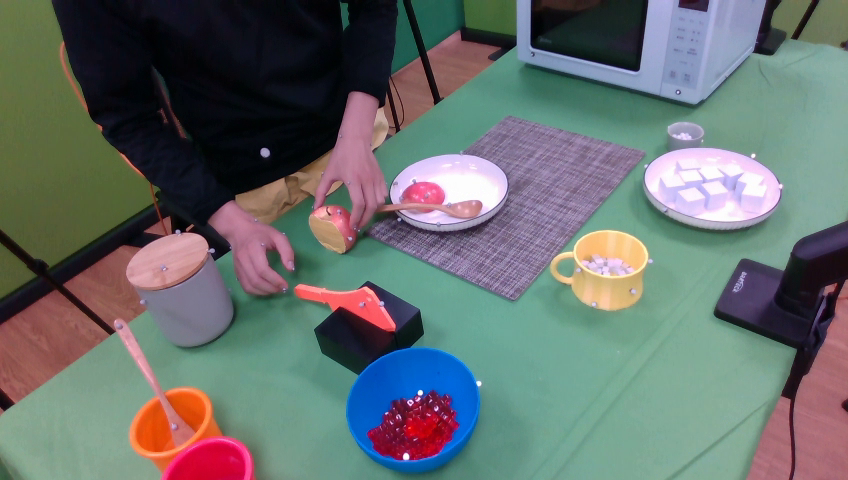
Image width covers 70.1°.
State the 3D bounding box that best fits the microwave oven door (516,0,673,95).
[{"bbox_3d":[0.344,-0.458,1.256,0.353,0.245,0.039,26,51,33],"label":"microwave oven door"}]

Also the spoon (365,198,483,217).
[{"bbox_3d":[0.001,-0.056,0.998,0.194,0.022,0.041,1,52,-9],"label":"spoon"}]

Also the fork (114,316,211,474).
[{"bbox_3d":[-0.308,0.179,0.708,0.028,0.018,0.207,-30,89,-23],"label":"fork"}]

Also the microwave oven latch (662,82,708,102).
[{"bbox_3d":[0.517,-0.298,1.203,0.078,0.029,0.030,28,52,35],"label":"microwave oven latch"}]

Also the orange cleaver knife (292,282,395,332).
[{"bbox_3d":[-0.116,0.091,0.835,0.209,0.077,0.012,2,32,48],"label":"orange cleaver knife"}]

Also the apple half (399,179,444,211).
[{"bbox_3d":[-0.003,-0.088,1.046,0.081,0.033,0.081,-2,42,2],"label":"apple half"}]

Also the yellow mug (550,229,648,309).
[{"bbox_3d":[0.245,0.040,0.857,0.130,0.064,0.099,1,42,11],"label":"yellow mug"}]

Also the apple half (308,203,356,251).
[{"bbox_3d":[-0.141,-0.026,0.979,0.080,0.075,0.053,19,50,36],"label":"apple half"}]

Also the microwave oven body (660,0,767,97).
[{"bbox_3d":[0.473,-0.517,1.314,0.438,0.261,0.327,26,51,34],"label":"microwave oven body"}]

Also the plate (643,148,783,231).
[{"bbox_3d":[0.464,-0.079,0.986,0.207,0.039,0.206,-4,40,4],"label":"plate"}]

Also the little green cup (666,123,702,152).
[{"bbox_3d":[0.472,-0.183,1.102,0.061,0.039,0.061,-5,41,5],"label":"little green cup"}]

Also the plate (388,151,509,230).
[{"bbox_3d":[0.044,-0.082,1.042,0.209,0.038,0.208,-4,40,4],"label":"plate"}]

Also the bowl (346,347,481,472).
[{"bbox_3d":[-0.008,0.205,0.691,0.151,0.077,0.150,-4,40,4],"label":"bowl"}]

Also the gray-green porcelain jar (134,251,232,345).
[{"bbox_3d":[-0.334,0.076,0.849,0.106,0.127,0.105,-4,41,4],"label":"gray-green porcelain jar"}]

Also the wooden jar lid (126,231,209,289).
[{"bbox_3d":[-0.340,0.030,0.808,0.108,0.021,0.108,-5,39,5],"label":"wooden jar lid"}]
